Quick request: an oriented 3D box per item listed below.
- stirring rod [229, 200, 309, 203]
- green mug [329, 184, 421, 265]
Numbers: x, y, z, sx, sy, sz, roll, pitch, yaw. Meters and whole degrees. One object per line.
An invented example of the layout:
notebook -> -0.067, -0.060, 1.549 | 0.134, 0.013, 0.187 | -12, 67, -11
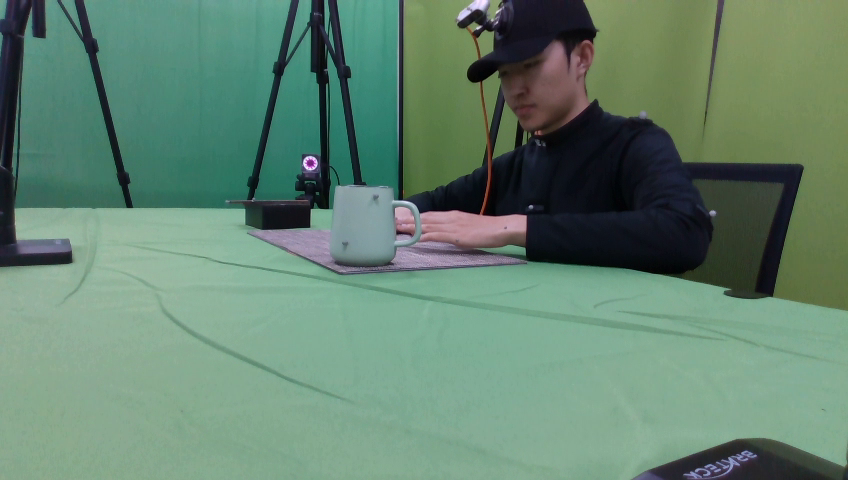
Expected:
stirring rod -> -0.316, -0.080, 1.246 | 0.177, 0.006, 0.014 | -4, 6, -42
green mug -> -0.066, -0.022, 0.817 | 0.125, 0.105, 0.092 | 3, 7, 8
